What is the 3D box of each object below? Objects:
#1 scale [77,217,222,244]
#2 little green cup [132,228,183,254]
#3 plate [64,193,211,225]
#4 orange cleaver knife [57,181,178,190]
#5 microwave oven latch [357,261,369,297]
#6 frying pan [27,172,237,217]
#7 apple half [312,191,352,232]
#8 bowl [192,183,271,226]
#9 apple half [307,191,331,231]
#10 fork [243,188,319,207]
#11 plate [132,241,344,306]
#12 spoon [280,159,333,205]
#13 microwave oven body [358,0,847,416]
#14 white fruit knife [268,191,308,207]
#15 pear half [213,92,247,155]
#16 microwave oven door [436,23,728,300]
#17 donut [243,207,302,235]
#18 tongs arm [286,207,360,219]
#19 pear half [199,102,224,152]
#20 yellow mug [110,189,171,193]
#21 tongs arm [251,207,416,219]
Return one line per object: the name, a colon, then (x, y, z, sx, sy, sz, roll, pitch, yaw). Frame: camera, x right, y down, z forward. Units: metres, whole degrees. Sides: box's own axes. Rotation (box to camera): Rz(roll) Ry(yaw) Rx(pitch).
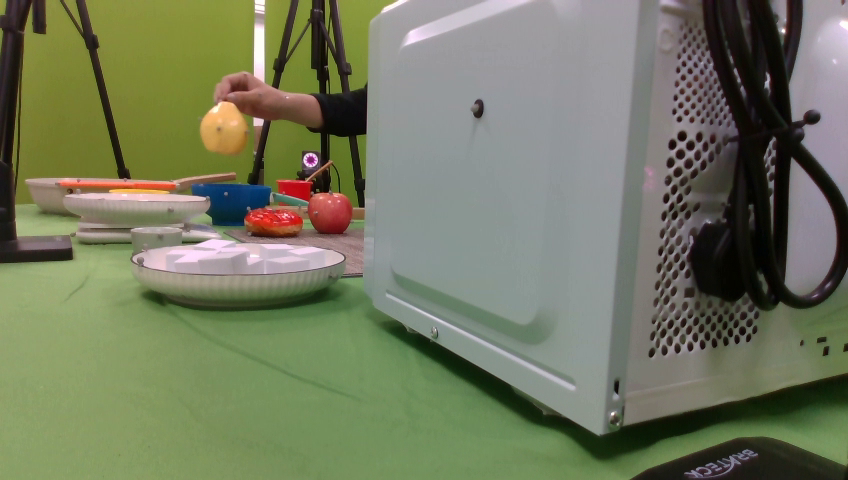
scale: (-0.434, -0.018, 0.963, 0.202, 0.031, 0.148, -1, 8, -27)
little green cup: (-0.342, 0.006, 0.779, 0.061, 0.038, 0.061, 2, 8, 0)
plate: (-0.446, -0.051, 0.952, 0.209, 0.038, 0.209, 2, 7, 0)
orange cleaver knife: (-0.600, -0.109, 1.189, 0.212, 0.012, 0.077, -1, 11, -26)
microwave oven latch: (-0.019, 0.033, 0.530, 0.079, 0.029, 0.030, -1, 7, -26)
frying pan: (-0.624, -0.118, 1.387, 0.305, 0.102, 0.490, 8, 17, 32)
apple half: (-0.160, -0.050, 1.101, 0.053, 0.074, 0.081, 9, 7, 23)
bowl: (-0.382, -0.070, 1.202, 0.151, 0.077, 0.151, 3, 7, 0)
apple half: (-0.197, -0.055, 1.114, 0.032, 0.081, 0.081, 9, 10, 21)
fork: (-0.356, -0.105, 1.526, 0.208, 0.018, 0.028, 16, -5, -41)
plate: (-0.187, 0.033, 0.625, 0.208, 0.039, 0.207, 2, 7, 0)
spoon: (-0.316, -0.159, 1.640, 0.194, 0.022, 0.041, -50, 32, -20)
microwave oven body: (0.211, -0.047, 0.474, 0.444, 0.260, 0.324, -1, 7, -28)
white fruit knife: (-0.364, -0.105, 1.464, 0.208, 0.027, 0.016, 15, 0, -34)
pear half: (-0.339, -0.204, 1.065, 0.056, 0.109, 0.076, 6, 5, -39)
microwave oven door: (0.180, -0.073, 0.621, 0.358, 0.243, 0.039, -2, 9, -29)
donut: (-0.261, -0.032, 1.043, 0.099, 0.048, 0.099, 4, 9, 0)
tongs arm: (-0.173, -0.061, 1.362, 0.387, 0.026, 0.050, -1, 1, -31)
pear half: (-0.369, -0.197, 1.044, 0.031, 0.088, 0.070, 7, 3, -40)
yellow mug: (-0.519, -0.055, 1.080, 0.099, 0.064, 0.131, 7, 10, 26)
tongs arm: (-0.210, -0.064, 1.440, 0.389, 0.027, 0.028, 0, -3, -17)
